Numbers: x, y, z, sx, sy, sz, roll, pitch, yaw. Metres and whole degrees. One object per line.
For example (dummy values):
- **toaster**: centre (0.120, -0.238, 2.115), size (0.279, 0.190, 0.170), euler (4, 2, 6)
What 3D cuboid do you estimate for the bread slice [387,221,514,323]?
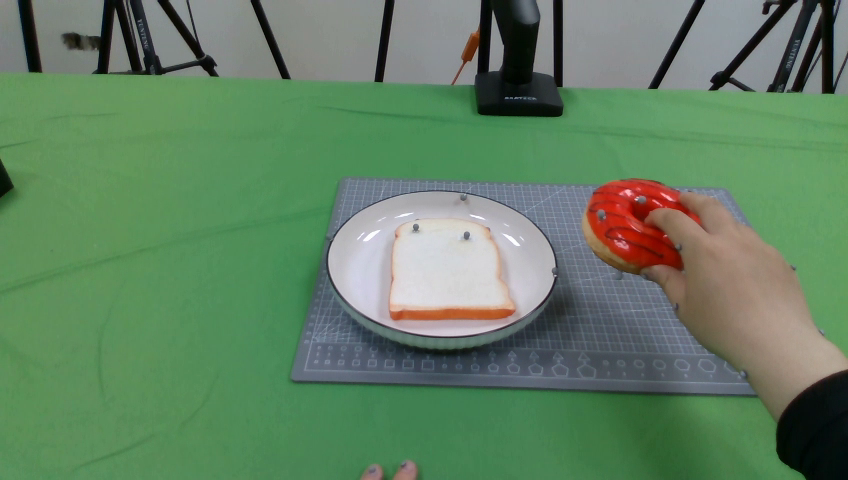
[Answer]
- **bread slice**: centre (0.016, 0.027, 0.560), size (0.107, 0.018, 0.133), euler (-1, 38, -6)

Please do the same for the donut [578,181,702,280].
- **donut**: centre (0.176, -0.008, 0.496), size (0.099, 0.048, 0.098), euler (2, 47, -2)

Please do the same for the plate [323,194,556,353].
- **plate**: centre (0.014, 0.029, 0.555), size (0.209, 0.038, 0.207), euler (2, 38, -1)
